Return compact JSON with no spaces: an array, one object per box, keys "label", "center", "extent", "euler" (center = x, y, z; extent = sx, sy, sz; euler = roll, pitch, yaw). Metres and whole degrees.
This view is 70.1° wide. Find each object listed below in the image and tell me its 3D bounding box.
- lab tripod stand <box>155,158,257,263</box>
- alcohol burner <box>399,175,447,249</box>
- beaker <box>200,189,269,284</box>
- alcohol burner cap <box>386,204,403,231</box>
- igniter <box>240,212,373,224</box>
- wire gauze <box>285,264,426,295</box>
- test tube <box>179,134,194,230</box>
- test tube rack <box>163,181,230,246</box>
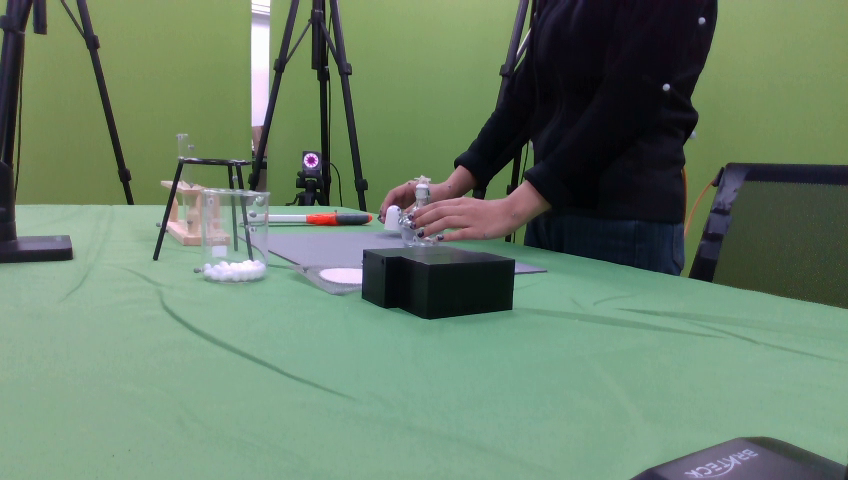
[{"label":"lab tripod stand","center":[-0.275,-0.041,0.797],"extent":[0.148,0.131,0.148],"euler":[2,9,0]},{"label":"alcohol burner","center":[-0.002,-0.046,0.973],"extent":[0.078,0.119,0.078],"euler":[0,7,0]},{"label":"beaker","center":[-0.209,-0.006,0.676],"extent":[0.073,0.100,0.084],"euler":[7,8,28]},{"label":"alcohol burner cap","center":[-0.053,-0.041,1.102],"extent":[0.034,0.048,0.034],"euler":[2,10,0]},{"label":"igniter","center":[-0.237,-0.045,1.250],"extent":[0.278,0.025,0.057],"euler":[-2,-2,-31]},{"label":"wire gauze","center":[-0.079,0.039,0.692],"extent":[0.122,0.011,0.124],"euler":[-4,11,-37]},{"label":"test tube","center":[-0.366,-0.089,0.938],"extent":[0.017,0.150,0.017],"euler":[-1,9,1]},{"label":"test tube rack","center":[-0.387,-0.050,1.015],"extent":[0.067,0.085,0.241],"euler":[-2,9,-30]}]
